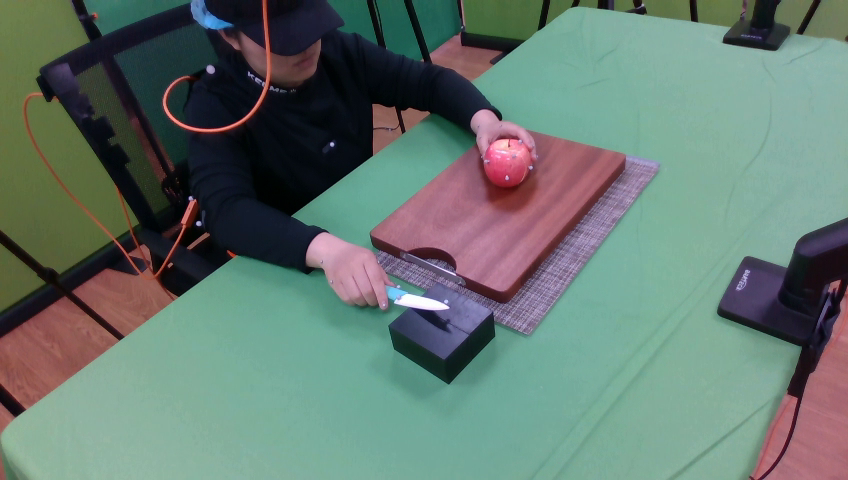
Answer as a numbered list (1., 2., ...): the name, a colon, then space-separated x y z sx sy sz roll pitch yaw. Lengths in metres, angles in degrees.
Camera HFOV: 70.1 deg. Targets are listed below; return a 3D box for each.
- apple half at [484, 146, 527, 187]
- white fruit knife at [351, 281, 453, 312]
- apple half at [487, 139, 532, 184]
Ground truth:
1. apple half: 0.131 -0.116 1.014 0.081 0.081 0.033 15 42 27
2. white fruit knife: -0.033 0.080 0.853 0.205 0.016 0.027 7 44 47
3. apple half: 0.151 -0.139 1.039 0.080 0.075 0.053 12 40 30
